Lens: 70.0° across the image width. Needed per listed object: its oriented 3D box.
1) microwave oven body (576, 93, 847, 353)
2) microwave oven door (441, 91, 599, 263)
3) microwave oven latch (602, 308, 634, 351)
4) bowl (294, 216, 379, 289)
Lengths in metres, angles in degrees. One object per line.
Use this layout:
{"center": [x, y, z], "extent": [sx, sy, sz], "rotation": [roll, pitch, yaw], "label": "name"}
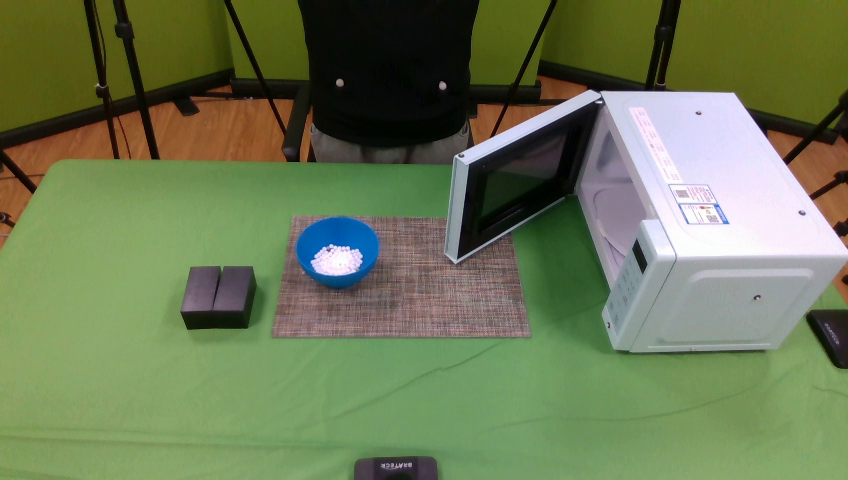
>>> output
{"center": [0.475, -0.041, 1.109], "extent": [0.326, 0.261, 0.438], "rotation": [-1, 45, -4], "label": "microwave oven body"}
{"center": [0.187, -0.123, 1.160], "extent": [0.356, 0.245, 0.039], "rotation": [-29, 55, -28], "label": "microwave oven door"}
{"center": [0.332, 0.153, 1.043], "extent": [0.030, 0.029, 0.078], "rotation": [-1, 45, -4], "label": "microwave oven latch"}
{"center": [-0.158, 0.036, 1.110], "extent": [0.151, 0.077, 0.150], "rotation": [3, 45, -2], "label": "bowl"}
